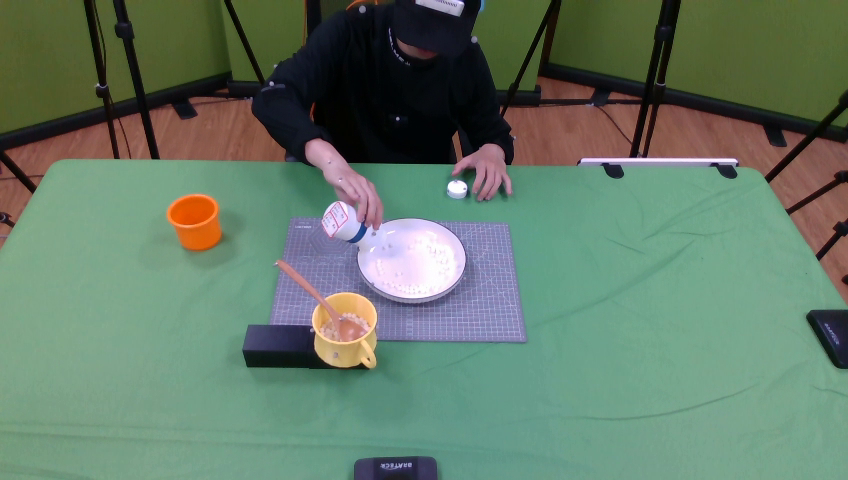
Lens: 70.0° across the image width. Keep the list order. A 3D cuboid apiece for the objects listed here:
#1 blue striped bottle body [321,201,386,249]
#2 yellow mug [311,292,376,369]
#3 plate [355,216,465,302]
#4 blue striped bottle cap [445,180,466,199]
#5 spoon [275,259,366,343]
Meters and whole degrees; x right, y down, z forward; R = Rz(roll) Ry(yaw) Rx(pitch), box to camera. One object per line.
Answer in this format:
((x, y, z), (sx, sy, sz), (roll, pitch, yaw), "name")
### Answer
((-0.121, -0.023, 1.095), (0.121, 0.063, 0.062), (24, 25, -48), "blue striped bottle body")
((-0.115, 0.150, 0.945), (0.100, 0.064, 0.130), (-30, 57, -28), "yellow mug")
((-0.027, 0.039, 1.144), (0.208, 0.039, 0.206), (2, 46, -2), "plate")
((0.069, -0.109, 1.313), (0.044, 0.021, 0.044), (4, 43, -3), "blue striped bottle cap")
((-0.161, 0.098, 0.946), (0.194, 0.021, 0.041), (48, 56, -5), "spoon")
